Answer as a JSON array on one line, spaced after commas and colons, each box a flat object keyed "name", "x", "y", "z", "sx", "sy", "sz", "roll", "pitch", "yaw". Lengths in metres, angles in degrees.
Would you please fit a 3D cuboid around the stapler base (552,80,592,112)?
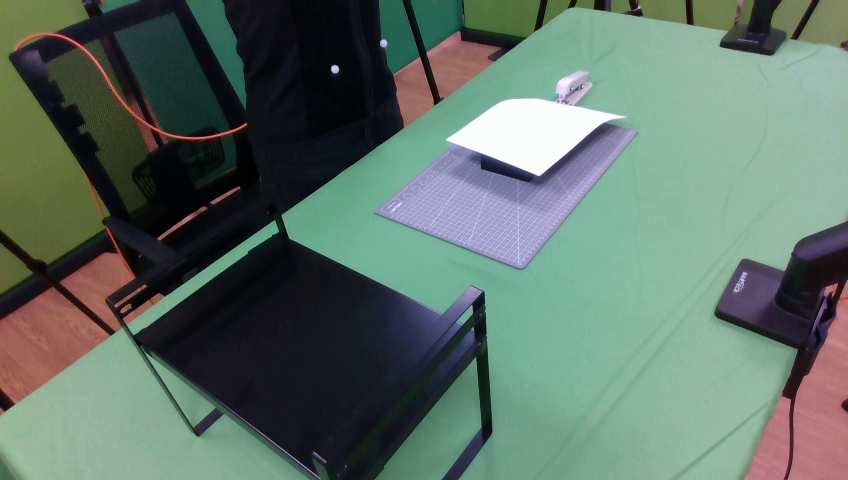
[{"name": "stapler base", "x": 0.318, "y": -0.316, "z": 1.298, "sx": 0.041, "sy": 0.024, "sz": 0.131, "roll": 20, "pitch": 47, "yaw": 30}]

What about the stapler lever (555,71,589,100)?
[{"name": "stapler lever", "x": 0.315, "y": -0.336, "z": 1.284, "sx": 0.026, "sy": 0.040, "sz": 0.118, "roll": 20, "pitch": 47, "yaw": 30}]
